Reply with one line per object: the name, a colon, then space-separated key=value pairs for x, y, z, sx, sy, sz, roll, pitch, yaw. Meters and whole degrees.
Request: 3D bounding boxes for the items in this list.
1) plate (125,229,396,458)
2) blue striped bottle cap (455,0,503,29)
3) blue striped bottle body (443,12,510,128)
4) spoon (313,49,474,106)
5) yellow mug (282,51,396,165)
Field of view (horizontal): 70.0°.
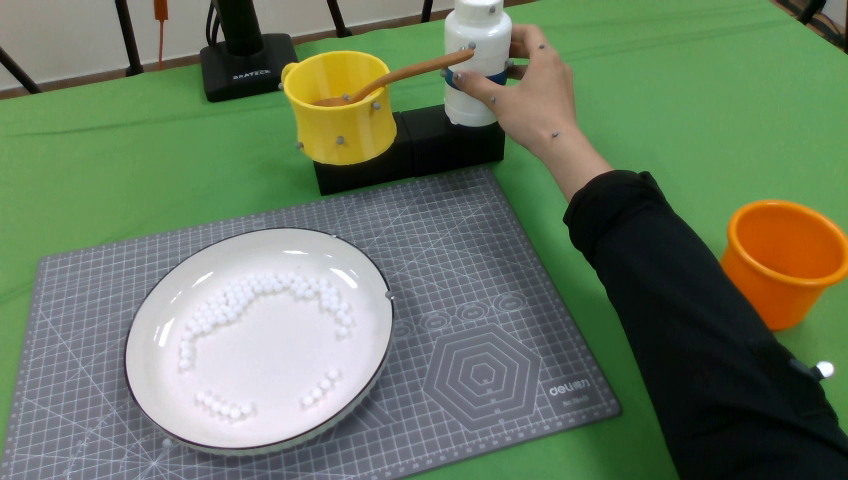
plate: x=-0.124 y=0.078 z=0.486 sx=0.208 sy=0.039 sz=0.205 roll=-1 pitch=47 yaw=1
blue striped bottle cap: x=0.050 y=-0.211 z=0.547 sx=0.044 sy=0.021 sz=0.044 roll=-3 pitch=47 yaw=4
blue striped bottle body: x=0.049 y=-0.175 z=0.584 sx=0.063 sy=0.122 sz=0.062 roll=-1 pitch=46 yaw=1
spoon: x=-0.039 y=-0.141 z=0.554 sx=0.193 sy=0.022 sz=0.041 roll=-13 pitch=35 yaw=37
yellow mug: x=-0.093 y=-0.136 z=0.596 sx=0.130 sy=0.064 sz=0.099 roll=26 pitch=53 yaw=25
